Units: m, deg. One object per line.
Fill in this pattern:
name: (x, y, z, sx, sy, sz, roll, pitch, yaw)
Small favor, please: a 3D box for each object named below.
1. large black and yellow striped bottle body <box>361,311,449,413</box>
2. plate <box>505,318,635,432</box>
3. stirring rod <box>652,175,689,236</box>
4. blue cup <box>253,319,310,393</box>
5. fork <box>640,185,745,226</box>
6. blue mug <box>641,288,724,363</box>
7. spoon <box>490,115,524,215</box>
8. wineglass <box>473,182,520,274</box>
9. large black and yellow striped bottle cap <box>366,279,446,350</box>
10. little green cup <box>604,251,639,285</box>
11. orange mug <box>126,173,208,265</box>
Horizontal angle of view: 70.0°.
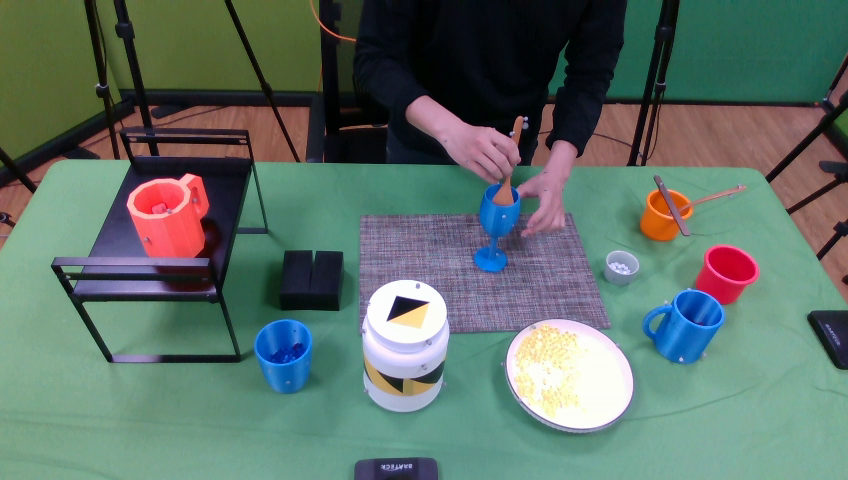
large black and yellow striped bottle body: (-0.031, 0.163, 0.924, 0.131, 0.185, 0.130, 2, 46, -2)
plate: (0.235, 0.221, 0.991, 0.209, 0.038, 0.208, 2, 45, -2)
stirring rod: (0.491, -0.072, 1.211, 0.014, 0.006, 0.175, -1, 47, -6)
blue cup: (-0.217, 0.187, 0.943, 0.093, 0.101, 0.092, 4, 45, -3)
fork: (0.534, -0.069, 1.215, 0.207, 0.019, 0.028, -26, 27, 33)
blue mug: (0.432, 0.144, 1.033, 0.116, 0.106, 0.082, 8, 46, 5)
spoon: (0.142, -0.120, 1.011, 0.041, 0.194, 0.021, 12, 34, 8)
wineglass: (0.131, -0.021, 1.116, 0.074, 0.173, 0.073, 2, 47, -2)
large black and yellow striped bottle cap: (-0.025, 0.104, 0.864, 0.115, 0.019, 0.114, 3, 48, -3)
little green cup: (0.375, 0.055, 1.161, 0.061, 0.039, 0.061, 3, 46, -2)
orange mug: (-0.371, -0.039, 0.902, 0.083, 0.101, 0.126, 18, 51, 14)
